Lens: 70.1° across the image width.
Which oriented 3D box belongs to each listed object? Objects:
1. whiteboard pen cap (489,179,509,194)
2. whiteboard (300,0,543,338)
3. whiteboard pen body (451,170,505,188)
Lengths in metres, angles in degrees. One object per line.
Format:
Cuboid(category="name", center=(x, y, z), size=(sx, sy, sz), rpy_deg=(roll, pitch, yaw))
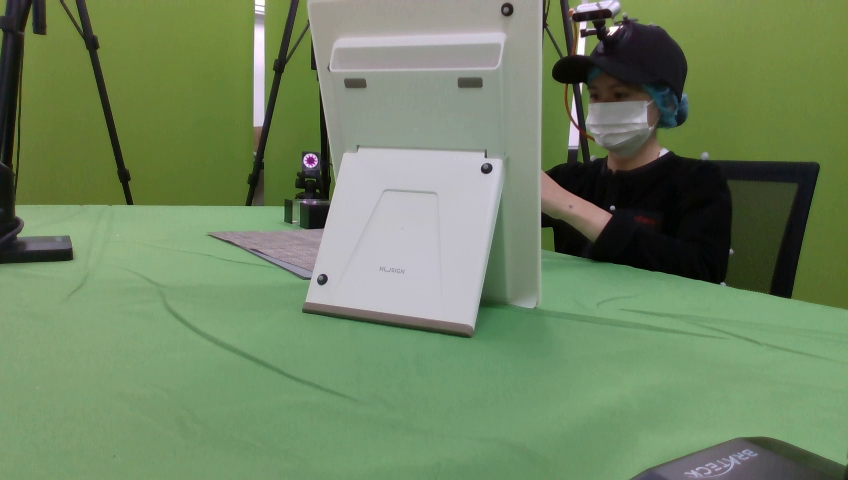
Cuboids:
Cuboid(category="whiteboard pen cap", center=(0.119, -0.086, 0.966), size=(0.018, 0.018, 0.033), rpy_deg=(-2, 20, -33))
Cuboid(category="whiteboard", center=(-0.020, -0.050, 0.523), size=(0.216, 0.305, 0.144), rpy_deg=(6, 27, 22))
Cuboid(category="whiteboard pen body", center=(0.090, -0.102, 1.016), size=(0.017, 0.017, 0.140), rpy_deg=(-3, 15, -33))
